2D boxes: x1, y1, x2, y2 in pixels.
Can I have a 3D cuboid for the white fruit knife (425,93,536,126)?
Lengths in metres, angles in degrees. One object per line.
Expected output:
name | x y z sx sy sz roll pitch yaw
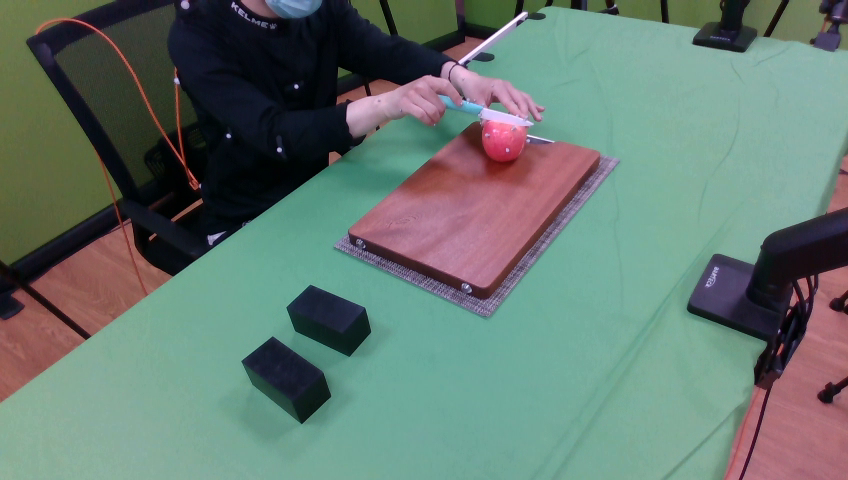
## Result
white fruit knife | 0.095 -0.225 1.051 0.206 0.027 0.016 17 51 18

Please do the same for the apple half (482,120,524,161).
apple half | 0.134 -0.168 1.055 0.081 0.081 0.033 11 36 20

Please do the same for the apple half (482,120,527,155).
apple half | 0.148 -0.190 1.084 0.080 0.075 0.053 8 35 22
